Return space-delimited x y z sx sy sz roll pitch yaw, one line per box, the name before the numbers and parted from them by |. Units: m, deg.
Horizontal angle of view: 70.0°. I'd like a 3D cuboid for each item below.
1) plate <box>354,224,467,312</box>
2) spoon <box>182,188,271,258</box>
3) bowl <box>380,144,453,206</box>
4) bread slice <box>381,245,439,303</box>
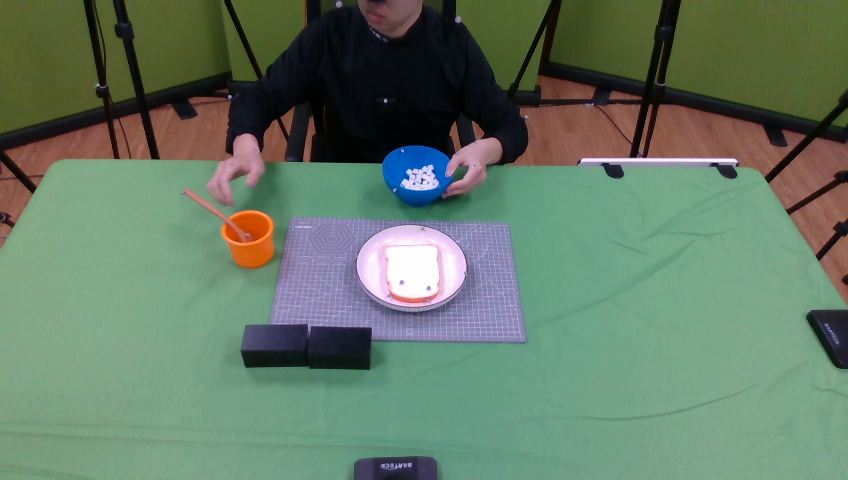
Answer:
plate | -0.025 0.055 1.128 0.209 0.038 0.208 3 46 -2
spoon | -0.361 -0.032 1.113 0.021 0.194 0.041 -27 30 34
bowl | -0.017 -0.125 1.277 0.151 0.077 0.150 2 46 -2
bread slice | -0.022 0.061 1.126 0.107 0.018 0.133 -3 45 -8
